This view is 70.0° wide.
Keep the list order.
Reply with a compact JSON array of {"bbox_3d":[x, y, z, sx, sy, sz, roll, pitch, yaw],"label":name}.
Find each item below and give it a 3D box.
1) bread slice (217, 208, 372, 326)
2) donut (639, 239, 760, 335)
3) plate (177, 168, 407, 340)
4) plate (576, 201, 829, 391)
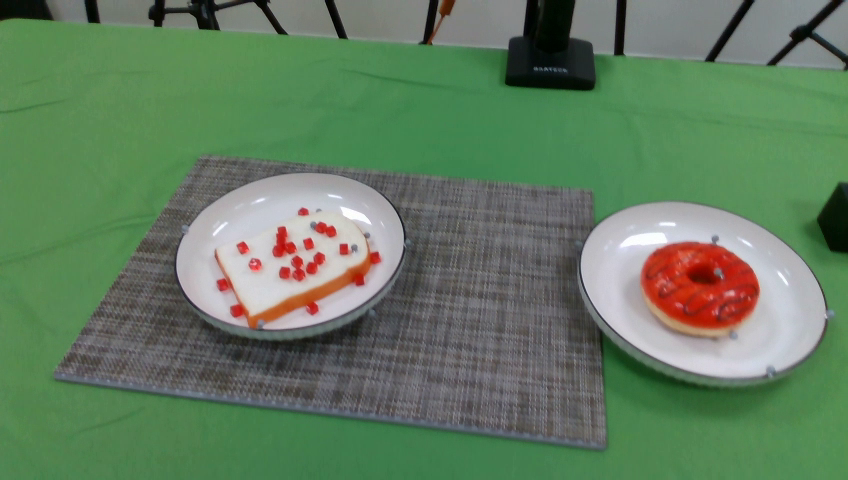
[{"bbox_3d":[-0.118,0.015,0.568,0.132,0.019,0.103,-25,51,-21],"label":"bread slice"},{"bbox_3d":[0.239,0.040,0.531,0.099,0.049,0.098,-2,46,2],"label":"donut"},{"bbox_3d":[-0.120,0.011,0.570,0.209,0.038,0.207,0,46,0],"label":"plate"},{"bbox_3d":[0.239,0.047,0.540,0.208,0.039,0.205,0,46,0],"label":"plate"}]
